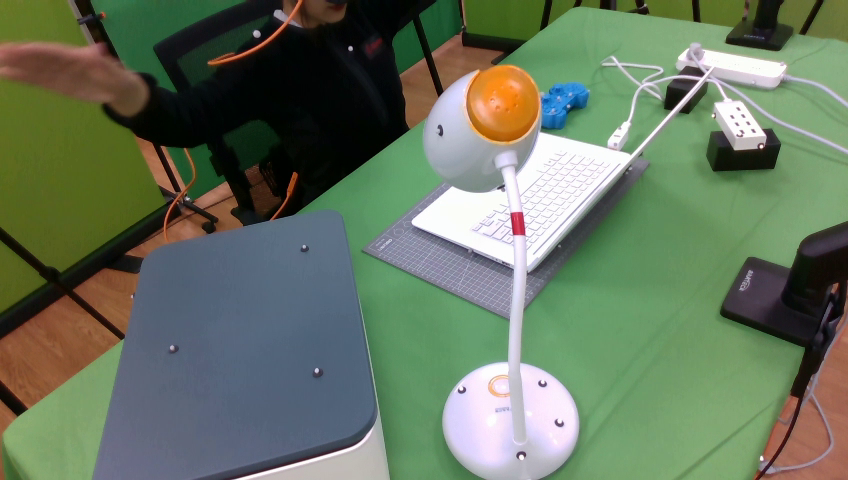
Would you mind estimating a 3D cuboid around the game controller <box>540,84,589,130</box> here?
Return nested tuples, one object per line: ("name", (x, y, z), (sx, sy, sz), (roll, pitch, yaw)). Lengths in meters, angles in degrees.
("game controller", (0.273, -0.282, 1.251), (0.096, 0.052, 0.155), (26, 52, 30))

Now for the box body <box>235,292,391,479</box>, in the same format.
("box body", (-0.190, 0.161, 0.723), (0.255, 0.161, 0.361), (-13, 40, -5))

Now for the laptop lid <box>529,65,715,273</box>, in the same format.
("laptop lid", (0.294, -0.104, 0.895), (0.013, 0.241, 0.358), (42, 56, 10))

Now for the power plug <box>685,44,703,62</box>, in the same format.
("power plug", (0.568, -0.390, 1.294), (0.073, 0.053, 0.035), (-33, 46, -22))

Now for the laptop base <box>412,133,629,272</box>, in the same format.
("laptop base", (0.176, -0.084, 1.055), (0.233, 0.023, 0.355), (21, 48, 36))

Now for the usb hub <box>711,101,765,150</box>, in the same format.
("usb hub", (0.536, -0.198, 1.038), (0.049, 0.025, 0.124), (-4, 39, 8))

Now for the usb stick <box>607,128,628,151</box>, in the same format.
("usb stick", (0.353, -0.178, 1.110), (0.021, 0.027, 0.059), (21, 57, 30))

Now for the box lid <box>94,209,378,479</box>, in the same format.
("box lid", (-0.202, 0.094, 0.680), (0.264, 0.015, 0.368), (-13, 39, -5))

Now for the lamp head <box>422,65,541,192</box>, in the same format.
("lamp head", (0.060, -0.106, 0.560), (0.113, 0.112, 0.122), (-16, 0, -8))

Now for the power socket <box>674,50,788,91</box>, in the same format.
("power socket", (0.646, -0.363, 1.284), (0.225, 0.033, 0.072), (25, 52, 34))

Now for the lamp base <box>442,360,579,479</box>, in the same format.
("lamp base", (0.094, 0.158, 0.657), (0.161, 0.181, 0.178), (-14, 42, -5))

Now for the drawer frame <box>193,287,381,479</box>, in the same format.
("drawer frame", (-0.172, 0.176, 0.755), (0.202, 0.083, 0.212), (-14, 42, -7))
